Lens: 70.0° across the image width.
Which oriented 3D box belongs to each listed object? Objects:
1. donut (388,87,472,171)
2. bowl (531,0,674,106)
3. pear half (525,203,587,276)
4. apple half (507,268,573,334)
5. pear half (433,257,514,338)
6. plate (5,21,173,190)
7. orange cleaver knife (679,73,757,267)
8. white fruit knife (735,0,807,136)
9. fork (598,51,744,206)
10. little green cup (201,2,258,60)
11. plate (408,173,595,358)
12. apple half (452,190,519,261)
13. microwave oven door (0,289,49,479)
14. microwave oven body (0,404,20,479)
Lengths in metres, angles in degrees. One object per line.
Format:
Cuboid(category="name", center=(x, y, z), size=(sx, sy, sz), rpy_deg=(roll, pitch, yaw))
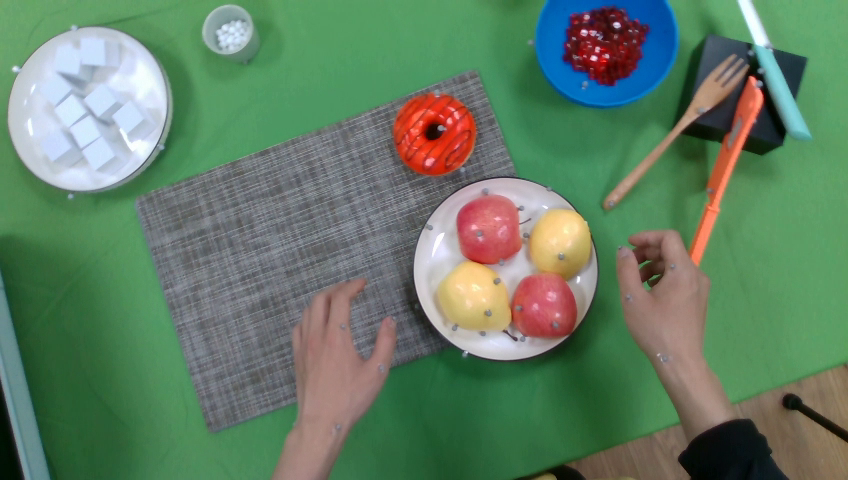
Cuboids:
Cuboid(category="donut", center=(0.007, -0.129, 0.704), size=(0.099, 0.048, 0.099), rpy_deg=(0, 87, 7))
Cuboid(category="bowl", center=(0.193, -0.216, 0.682), size=(0.151, 0.077, 0.151), rpy_deg=(0, 87, 5))
Cuboid(category="pear half", center=(0.143, 0.004, 0.674), size=(0.070, 0.031, 0.088), rpy_deg=(13, 100, 30))
Cuboid(category="apple half", center=(0.121, 0.069, 0.667), size=(0.081, 0.033, 0.081), rpy_deg=(0, 91, 30))
Cuboid(category="pear half", center=(0.062, 0.071, 0.676), size=(0.110, 0.056, 0.076), rpy_deg=(42, 95, 2))
Cuboid(category="plate", center=(-0.406, -0.163, 0.747), size=(0.207, 0.039, 0.207), rpy_deg=(0, 86, 5))
Cuboid(category="orange cleaver knife", center=(0.317, -0.074, 0.660), size=(0.012, 0.077, 0.212), rpy_deg=(16, 113, 11))
Cuboid(category="white fruit knife", center=(0.361, -0.206, 0.649), size=(0.027, 0.016, 0.206), rpy_deg=(-15, 82, -26))
Cuboid(category="fork", center=(0.264, -0.116, 0.665), size=(0.028, 0.018, 0.208), rpy_deg=(38, 110, -1))
Cuboid(category="little green cup", center=(-0.235, -0.252, 0.739), size=(0.061, 0.039, 0.061), rpy_deg=(0, 86, 5))
Cuboid(category="plate", center=(0.087, 0.028, 0.691), size=(0.209, 0.038, 0.208), rpy_deg=(0, 86, 4))
Cuboid(category="apple half", center=(0.068, -0.017, 0.677), size=(0.074, 0.053, 0.080), rpy_deg=(-3, 89, 5))
Cuboid(category="microwave oven door", center=(-0.490, 0.219, 0.608), size=(0.039, 0.244, 0.355), rpy_deg=(-18, 85, 3))
Cuboid(category="microwave oven body", center=(-0.641, 0.223, 0.625), size=(0.326, 0.260, 0.440), rpy_deg=(-18, 85, 3))
